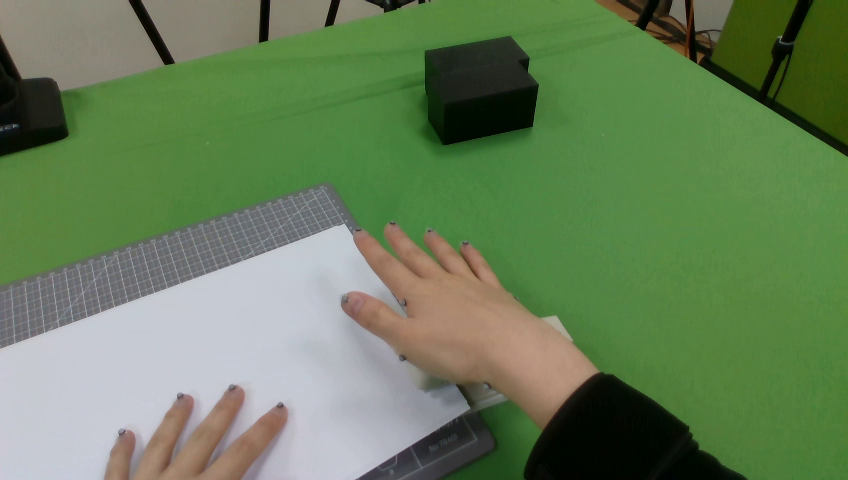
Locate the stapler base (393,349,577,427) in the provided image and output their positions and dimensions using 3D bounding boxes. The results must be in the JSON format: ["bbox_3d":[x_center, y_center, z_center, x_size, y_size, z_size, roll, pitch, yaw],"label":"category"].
[{"bbox_3d":[0.043,0.088,0.415,0.131,0.024,0.041,-14,50,-19],"label":"stapler base"}]

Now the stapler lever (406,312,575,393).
[{"bbox_3d":[0.045,0.070,0.398,0.118,0.040,0.026,-15,50,-18],"label":"stapler lever"}]
